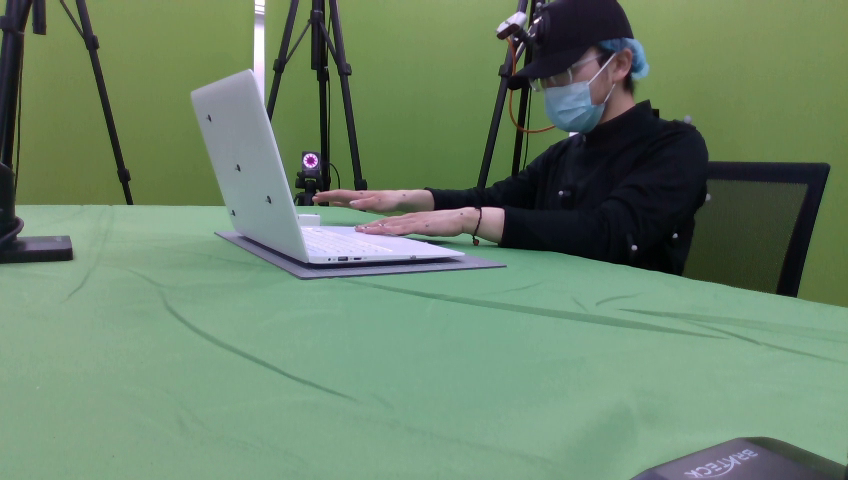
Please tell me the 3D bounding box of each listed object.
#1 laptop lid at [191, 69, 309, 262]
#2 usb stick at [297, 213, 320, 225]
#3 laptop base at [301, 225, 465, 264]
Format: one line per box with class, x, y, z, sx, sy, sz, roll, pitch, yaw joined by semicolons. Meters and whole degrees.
laptop lid;-0.254;-0.103;0.842;0.013;0.242;0.355;-22;20;-27
usb stick;-0.242;-0.040;1.221;0.059;0.027;0.021;-6;8;-27
laptop base;-0.128;0.005;0.937;0.237;0.023;0.352;2;6;-32
